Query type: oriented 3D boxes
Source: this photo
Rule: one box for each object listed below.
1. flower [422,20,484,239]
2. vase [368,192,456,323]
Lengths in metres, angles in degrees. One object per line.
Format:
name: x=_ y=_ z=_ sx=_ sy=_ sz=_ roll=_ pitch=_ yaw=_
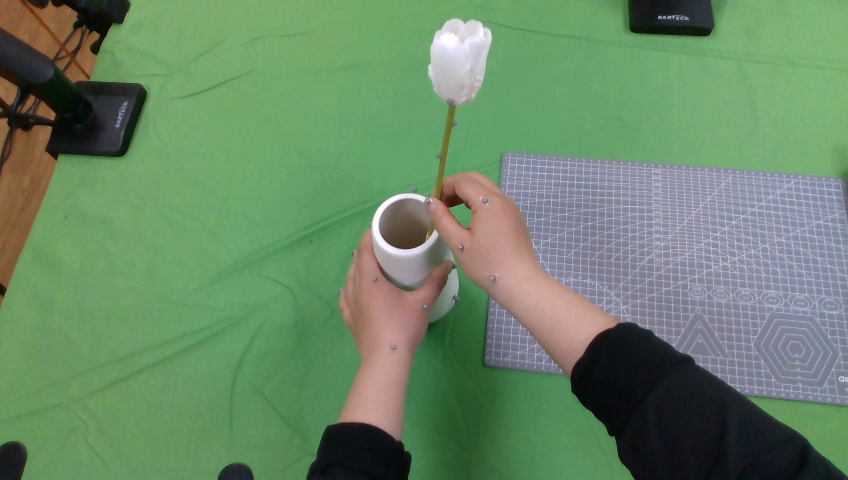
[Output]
flower: x=0.005 y=-0.032 z=0.556 sx=0.044 sy=0.364 sz=0.038 roll=-22 pitch=57 yaw=-23
vase: x=-0.013 y=0.023 z=0.671 sx=0.098 sy=0.201 sz=0.097 roll=-1 pitch=66 yaw=2
